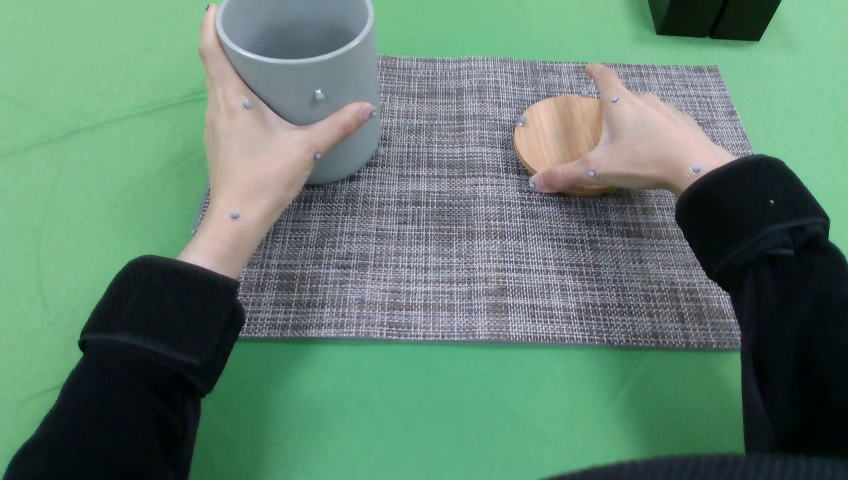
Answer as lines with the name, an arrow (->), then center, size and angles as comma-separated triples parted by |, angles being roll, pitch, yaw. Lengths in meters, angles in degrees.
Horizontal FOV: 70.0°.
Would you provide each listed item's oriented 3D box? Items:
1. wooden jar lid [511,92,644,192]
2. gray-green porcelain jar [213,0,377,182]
wooden jar lid -> 0.125, -0.080, 0.502 | 0.108, 0.021, 0.107 | 1, 53, 0
gray-green porcelain jar -> -0.088, -0.115, 0.453 | 0.106, 0.127, 0.105 | 1, 54, -1
